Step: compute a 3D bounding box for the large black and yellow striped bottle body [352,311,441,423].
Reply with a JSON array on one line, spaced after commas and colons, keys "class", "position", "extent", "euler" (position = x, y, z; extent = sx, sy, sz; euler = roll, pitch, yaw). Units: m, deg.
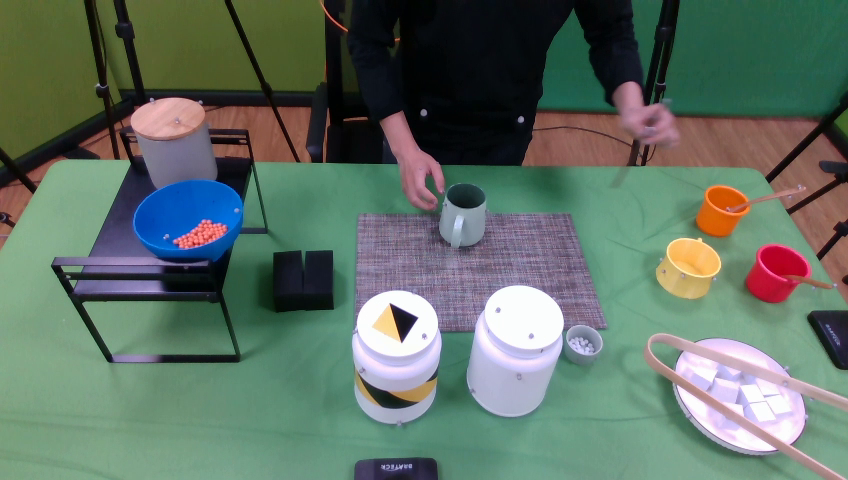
[{"class": "large black and yellow striped bottle body", "position": [-0.042, 0.177, 0.913], "extent": [0.131, 0.185, 0.130], "euler": [2, 47, -2]}]

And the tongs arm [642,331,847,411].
[{"class": "tongs arm", "position": [0.546, 0.227, 0.968], "extent": [0.384, 0.026, 0.050], "euler": [22, 52, 13]}]

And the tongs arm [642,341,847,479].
[{"class": "tongs arm", "position": [0.504, 0.278, 0.918], "extent": [0.386, 0.028, 0.028], "euler": [34, 59, 22]}]

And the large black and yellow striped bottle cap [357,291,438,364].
[{"class": "large black and yellow striped bottle cap", "position": [-0.037, 0.121, 0.851], "extent": [0.115, 0.019, 0.114], "euler": [2, 46, -1]}]

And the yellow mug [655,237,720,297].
[{"class": "yellow mug", "position": [0.509, 0.041, 1.167], "extent": [0.099, 0.064, 0.130], "euler": [24, 48, 18]}]

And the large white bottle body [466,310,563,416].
[{"class": "large white bottle body", "position": [0.138, 0.171, 0.932], "extent": [0.131, 0.185, 0.130], "euler": [2, 46, -2]}]

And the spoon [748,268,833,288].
[{"class": "spoon", "position": [0.660, 0.068, 1.097], "extent": [0.041, 0.193, 0.021], "euler": [-3, 91, -6]}]

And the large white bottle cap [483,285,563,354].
[{"class": "large white bottle cap", "position": [0.142, 0.112, 0.871], "extent": [0.115, 0.018, 0.114], "euler": [3, 46, -2]}]

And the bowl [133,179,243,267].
[{"class": "bowl", "position": [-0.339, -0.013, 0.895], "extent": [0.151, 0.077, 0.150], "euler": [2, 46, -2]}]

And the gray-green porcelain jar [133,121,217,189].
[{"class": "gray-green porcelain jar", "position": [-0.397, -0.141, 0.980], "extent": [0.106, 0.127, 0.105], "euler": [2, 47, -2]}]

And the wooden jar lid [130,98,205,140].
[{"class": "wooden jar lid", "position": [-0.393, -0.183, 0.934], "extent": [0.108, 0.021, 0.107], "euler": [2, 44, -2]}]

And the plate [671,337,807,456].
[{"class": "plate", "position": [0.504, 0.254, 0.984], "extent": [0.208, 0.039, 0.206], "euler": [2, 46, -2]}]

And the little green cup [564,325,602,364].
[{"class": "little green cup", "position": [0.269, 0.180, 1.036], "extent": [0.061, 0.039, 0.061], "euler": [2, 45, -2]}]

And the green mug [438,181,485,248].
[{"class": "green mug", "position": [0.071, -0.039, 1.178], "extent": [0.092, 0.105, 0.124], "euler": [12, 47, 7]}]

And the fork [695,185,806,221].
[{"class": "fork", "position": [0.657, -0.075, 1.230], "extent": [0.207, 0.019, 0.028], "euler": [-23, 35, 37]}]

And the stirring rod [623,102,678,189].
[{"class": "stirring rod", "position": [0.396, -0.163, 1.066], "extent": [0.006, 0.176, 0.014], "euler": [35, 37, 18]}]
